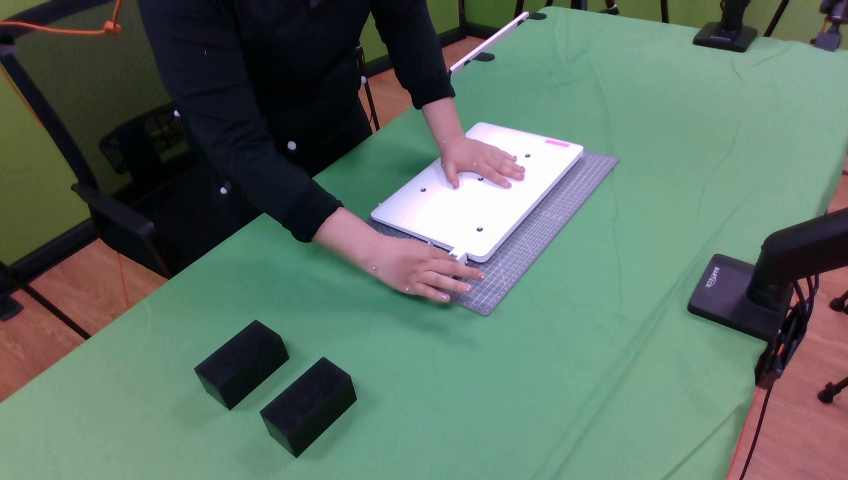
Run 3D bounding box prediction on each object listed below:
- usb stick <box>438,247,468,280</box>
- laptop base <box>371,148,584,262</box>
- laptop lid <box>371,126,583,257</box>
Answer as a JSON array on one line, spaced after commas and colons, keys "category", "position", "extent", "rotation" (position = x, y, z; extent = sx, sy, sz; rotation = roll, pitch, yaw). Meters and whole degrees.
[{"category": "usb stick", "position": [0.048, 0.031, 0.912], "extent": [0.021, 0.027, 0.059], "rotation": [32, 56, 32]}, {"category": "laptop base", "position": [0.102, -0.096, 1.071], "extent": [0.233, 0.023, 0.355], "rotation": [18, 46, 33]}, {"category": "laptop lid", "position": [0.100, -0.104, 1.066], "extent": [0.239, 0.013, 0.358], "rotation": [21, 47, 34]}]
